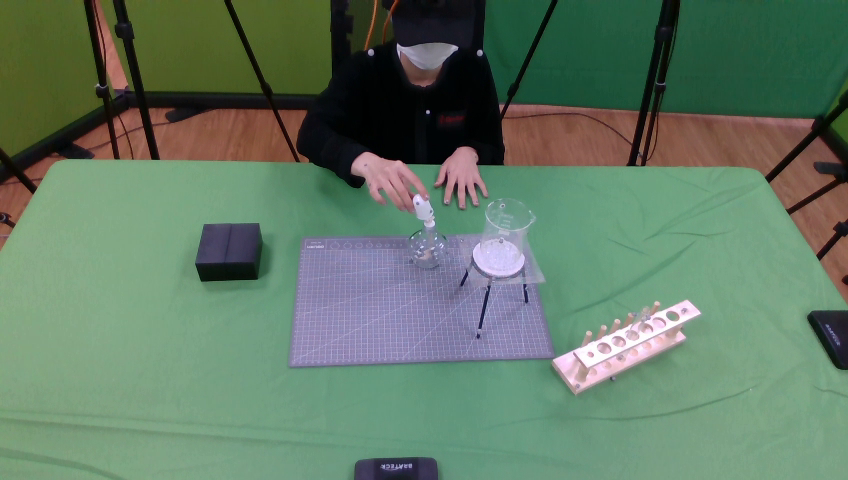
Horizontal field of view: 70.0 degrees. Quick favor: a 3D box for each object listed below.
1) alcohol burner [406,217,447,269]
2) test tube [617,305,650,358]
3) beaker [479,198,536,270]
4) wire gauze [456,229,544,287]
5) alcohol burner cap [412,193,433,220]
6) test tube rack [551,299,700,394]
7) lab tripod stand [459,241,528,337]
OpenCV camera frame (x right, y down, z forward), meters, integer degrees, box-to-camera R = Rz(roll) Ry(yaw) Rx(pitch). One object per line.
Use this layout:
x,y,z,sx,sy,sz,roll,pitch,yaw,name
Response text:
0.006,-0.002,1.134,0.078,0.120,0.077,2,48,-2,alcohol burner
0.333,0.149,0.967,0.017,0.151,0.017,0,52,1,test tube
0.131,-0.007,0.975,0.084,0.101,0.073,2,46,-4,beaker
0.125,0.030,1.008,0.125,0.011,0.120,-2,48,-11,wire gauze
-0.004,-0.061,1.061,0.034,0.048,0.033,-9,50,11,alcohol burner cap
0.339,0.166,1.021,0.242,0.085,0.066,-19,50,-21,test tube rack
0.122,0.075,1.054,0.148,0.132,0.147,3,44,-3,lab tripod stand
